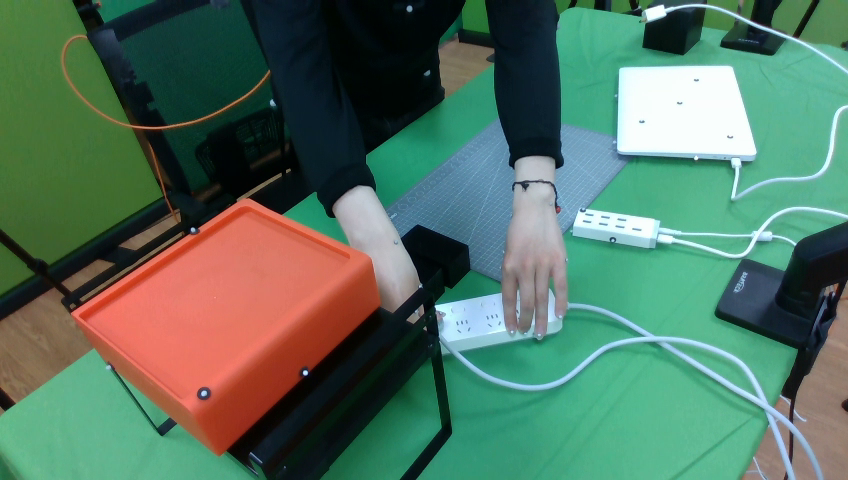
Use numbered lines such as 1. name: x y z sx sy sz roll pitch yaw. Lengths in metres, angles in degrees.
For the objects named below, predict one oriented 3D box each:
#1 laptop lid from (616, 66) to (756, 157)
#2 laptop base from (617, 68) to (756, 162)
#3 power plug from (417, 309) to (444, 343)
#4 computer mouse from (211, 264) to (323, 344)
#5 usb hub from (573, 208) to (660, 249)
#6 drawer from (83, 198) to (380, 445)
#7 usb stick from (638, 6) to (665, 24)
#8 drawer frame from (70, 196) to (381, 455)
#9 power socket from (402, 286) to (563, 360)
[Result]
1. laptop lid: 0.503 -0.265 1.196 0.241 0.013 0.356 5 41 16
2. laptop base: 0.507 -0.256 1.204 0.235 0.023 0.353 3 41 15
3. power plug: 0.008 0.120 0.774 0.035 0.053 0.072 -8 38 7
4. computer mouse: -0.164 0.062 0.625 0.116 0.041 0.063 22 44 27
5. usb hub: 0.302 -0.019 0.949 0.124 0.025 0.049 11 42 20
6. drawer: -0.185 0.066 0.601 0.193 0.073 0.212 24 50 31
7. usb stick: 0.503 -0.499 1.347 0.059 0.027 0.021 -21 5 -2
8. drawer frame: -0.186 0.068 0.597 0.200 0.083 0.214 23 49 30
9. power socket: 0.081 0.112 0.822 0.227 0.033 0.071 -10 41 -4
